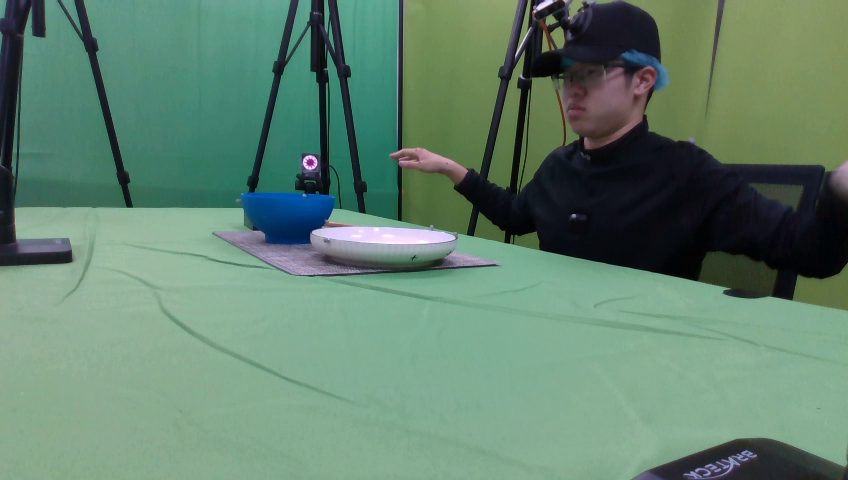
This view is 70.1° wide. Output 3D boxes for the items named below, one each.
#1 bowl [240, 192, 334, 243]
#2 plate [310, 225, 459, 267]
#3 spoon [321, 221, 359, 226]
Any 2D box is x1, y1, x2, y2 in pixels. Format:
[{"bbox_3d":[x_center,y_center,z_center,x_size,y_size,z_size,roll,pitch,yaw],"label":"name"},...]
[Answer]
[{"bbox_3d":[-0.223,-0.037,0.992,0.151,0.077,0.151,2,7,0],"label":"bowl"},{"bbox_3d":[-0.055,0.008,0.851,0.208,0.039,0.207,2,7,0],"label":"plate"},{"bbox_3d":[-0.197,-0.028,1.149,0.195,0.021,0.041,-2,-9,-30],"label":"spoon"}]
